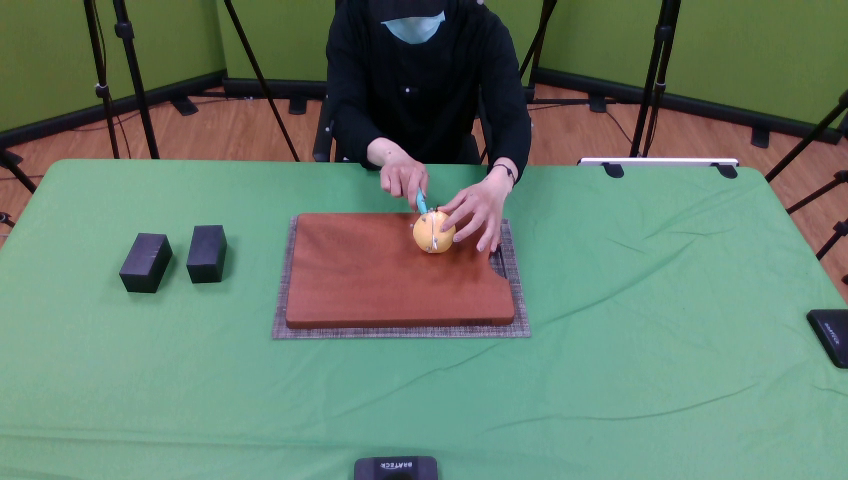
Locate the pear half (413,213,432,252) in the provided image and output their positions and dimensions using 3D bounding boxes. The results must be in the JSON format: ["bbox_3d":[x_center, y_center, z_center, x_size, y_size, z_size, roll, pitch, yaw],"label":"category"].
[{"bbox_3d":[-0.004,-0.016,1.124,0.031,0.088,0.070,-13,55,-11],"label":"pear half"}]

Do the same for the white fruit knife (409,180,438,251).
[{"bbox_3d":[0.000,-0.051,1.151,0.016,0.027,0.206,-5,43,-14],"label":"white fruit knife"}]

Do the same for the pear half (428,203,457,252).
[{"bbox_3d":[0.035,-0.028,1.123,0.056,0.110,0.076,-7,50,-15],"label":"pear half"}]
